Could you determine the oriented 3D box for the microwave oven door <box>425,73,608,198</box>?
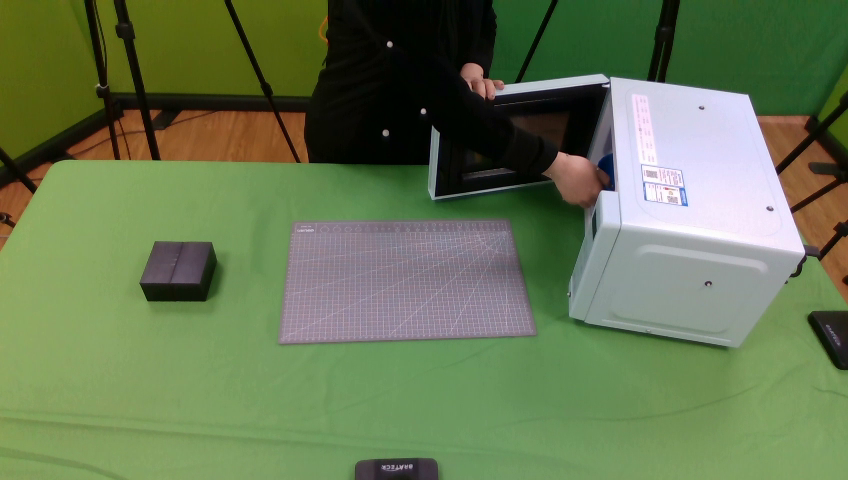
[{"bbox_3d":[0.184,-0.211,1.239,0.356,0.245,0.039,-10,48,-13],"label":"microwave oven door"}]

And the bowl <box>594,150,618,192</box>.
[{"bbox_3d":[0.398,-0.099,1.182,0.151,0.077,0.150,4,48,-4],"label":"bowl"}]

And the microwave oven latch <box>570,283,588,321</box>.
[{"bbox_3d":[0.276,0.105,1.082,0.030,0.029,0.079,10,45,7],"label":"microwave oven latch"}]

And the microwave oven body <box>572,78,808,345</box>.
[{"bbox_3d":[0.455,-0.063,1.125,0.326,0.261,0.439,8,45,5],"label":"microwave oven body"}]
